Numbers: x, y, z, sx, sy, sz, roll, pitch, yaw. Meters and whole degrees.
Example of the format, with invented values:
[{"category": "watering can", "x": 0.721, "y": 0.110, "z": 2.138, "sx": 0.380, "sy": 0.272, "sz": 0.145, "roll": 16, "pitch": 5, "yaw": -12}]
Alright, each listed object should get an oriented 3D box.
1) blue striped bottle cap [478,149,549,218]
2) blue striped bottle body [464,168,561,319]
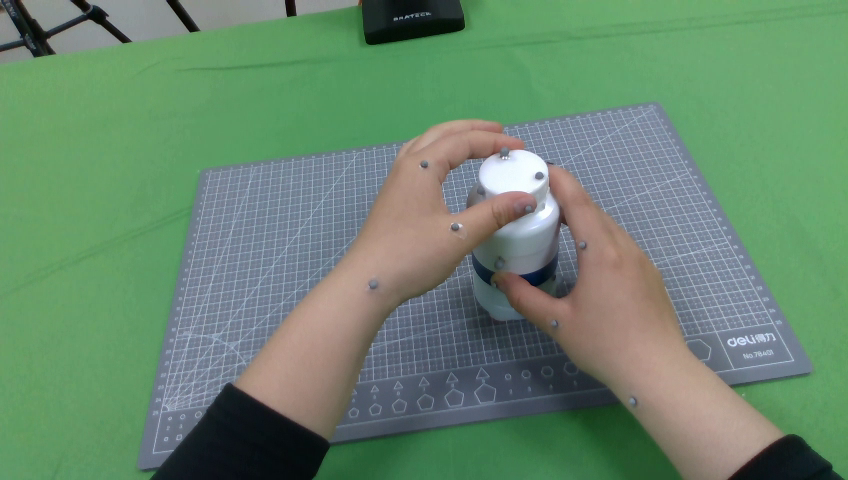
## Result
[{"category": "blue striped bottle cap", "x": 0.056, "y": -0.036, "z": 0.379, "sx": 0.044, "sy": 0.021, "sz": 0.044, "roll": -5, "pitch": 48, "yaw": 6}, {"category": "blue striped bottle body", "x": 0.061, "y": -0.003, "z": 0.418, "sx": 0.063, "sy": 0.122, "sz": 0.062, "roll": -4, "pitch": 49, "yaw": 5}]
